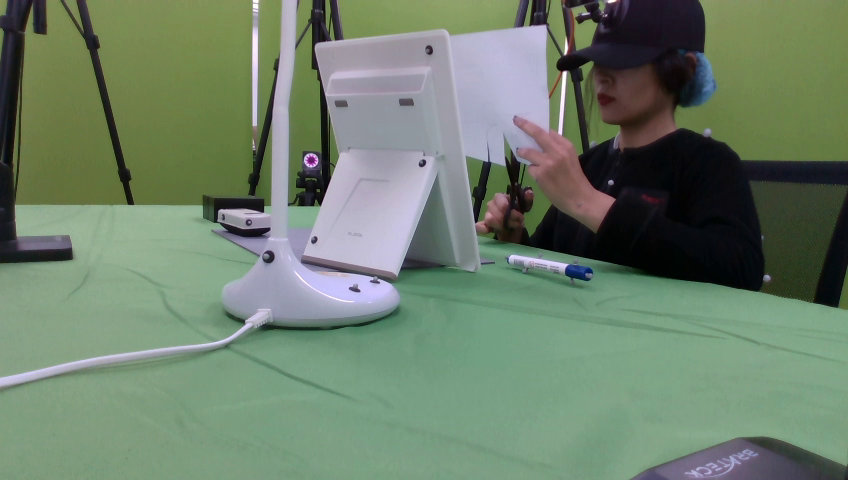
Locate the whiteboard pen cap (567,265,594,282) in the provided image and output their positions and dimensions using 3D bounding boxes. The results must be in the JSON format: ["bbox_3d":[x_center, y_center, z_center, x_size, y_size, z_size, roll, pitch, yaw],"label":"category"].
[{"bbox_3d":[0.185,0.040,0.722,0.018,0.018,0.033,-2,7,-33],"label":"whiteboard pen cap"}]

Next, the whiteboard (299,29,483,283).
[{"bbox_3d":[-0.074,-0.082,0.742,0.216,0.305,0.144,9,29,38],"label":"whiteboard"}]

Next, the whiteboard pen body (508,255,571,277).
[{"bbox_3d":[0.155,0.034,0.772,0.017,0.017,0.140,-2,6,-31],"label":"whiteboard pen body"}]

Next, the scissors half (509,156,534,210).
[{"bbox_3d":[0.166,-0.100,1.048,0.012,0.040,0.176,26,-9,28],"label":"scissors half"}]

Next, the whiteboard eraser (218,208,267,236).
[{"bbox_3d":[-0.309,-0.031,1.044,0.056,0.042,0.112,-2,9,-40],"label":"whiteboard eraser"}]

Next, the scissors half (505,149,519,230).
[{"bbox_3d":[0.153,-0.083,1.039,0.013,0.175,0.040,22,48,26],"label":"scissors half"}]

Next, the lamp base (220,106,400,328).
[{"bbox_3d":[-0.102,-0.023,0.531,0.160,0.180,0.179,4,10,10],"label":"lamp base"}]
